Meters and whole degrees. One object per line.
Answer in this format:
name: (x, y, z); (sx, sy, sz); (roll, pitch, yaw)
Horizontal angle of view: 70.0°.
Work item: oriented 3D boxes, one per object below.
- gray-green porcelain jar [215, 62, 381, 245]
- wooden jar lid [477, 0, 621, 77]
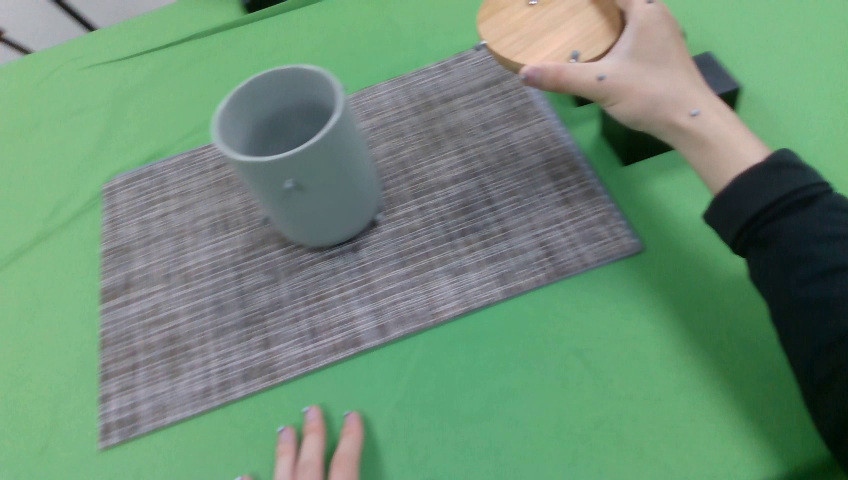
gray-green porcelain jar: (-0.097, -0.065, 0.509); (0.106, 0.128, 0.105); (-6, 54, 9)
wooden jar lid: (0.095, -0.164, 0.466); (0.108, 0.021, 0.107); (-2, 58, 4)
